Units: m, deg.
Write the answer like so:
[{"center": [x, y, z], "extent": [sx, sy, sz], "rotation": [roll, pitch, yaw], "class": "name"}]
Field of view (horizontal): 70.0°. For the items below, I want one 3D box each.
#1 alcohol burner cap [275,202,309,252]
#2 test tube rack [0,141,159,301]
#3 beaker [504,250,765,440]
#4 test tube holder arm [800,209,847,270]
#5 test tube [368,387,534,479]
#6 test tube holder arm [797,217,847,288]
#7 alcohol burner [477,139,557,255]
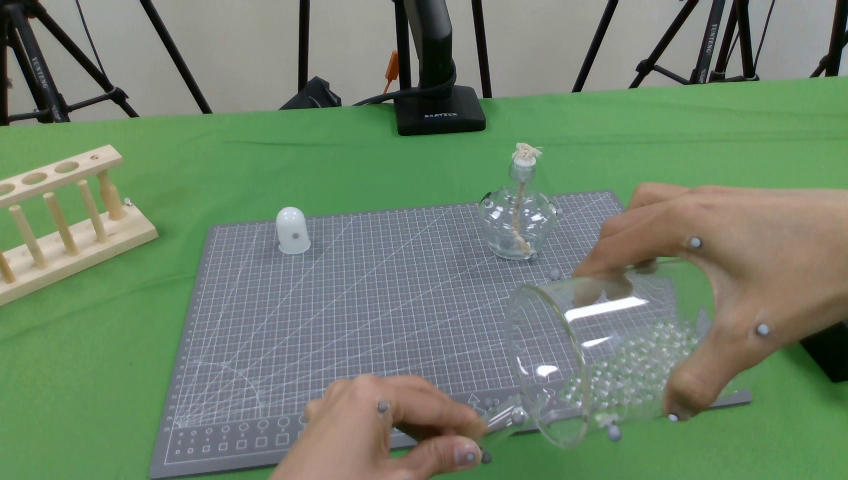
[{"center": [-0.134, -0.015, 0.608], "extent": [0.034, 0.048, 0.033], "rotation": [-1, 39, 1], "class": "alcohol burner cap"}, {"center": [-0.391, -0.004, 0.568], "extent": [0.242, 0.086, 0.066], "rotation": [-30, 47, -31], "class": "test tube rack"}, {"center": [0.098, 0.048, 0.289], "extent": [0.100, 0.084, 0.073], "rotation": [-10, 51, -15], "class": "beaker"}, {"center": [0.348, 0.002, 0.515], "extent": [0.015, 0.010, 0.087], "rotation": [1, 39, 1], "class": "test tube holder arm"}, {"center": [-0.003, 0.123, 0.330], "extent": [0.150, 0.017, 0.017], "rotation": [-38, 35, 20], "class": "test tube"}, {"center": [0.346, 0.035, 0.484], "extent": [0.015, 0.013, 0.176], "rotation": [1, 39, 1], "class": "test tube holder arm"}, {"center": [0.091, -0.044, 0.583], "extent": [0.078, 0.120, 0.077], "rotation": [1, 39, 0], "class": "alcohol burner"}]
